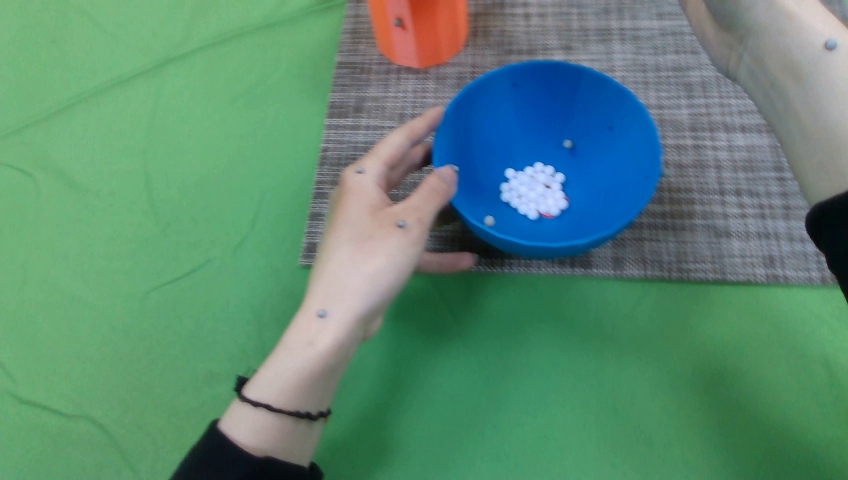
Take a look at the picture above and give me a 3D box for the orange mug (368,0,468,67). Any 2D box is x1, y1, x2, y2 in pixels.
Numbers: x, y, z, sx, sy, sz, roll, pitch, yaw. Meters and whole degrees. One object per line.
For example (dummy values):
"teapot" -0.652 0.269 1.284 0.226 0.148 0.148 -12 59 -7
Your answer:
"orange mug" -0.002 -0.230 0.523 0.083 0.101 0.125 13 70 12

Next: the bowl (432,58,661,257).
"bowl" 0.083 -0.046 0.433 0.151 0.077 0.150 -2 63 5
